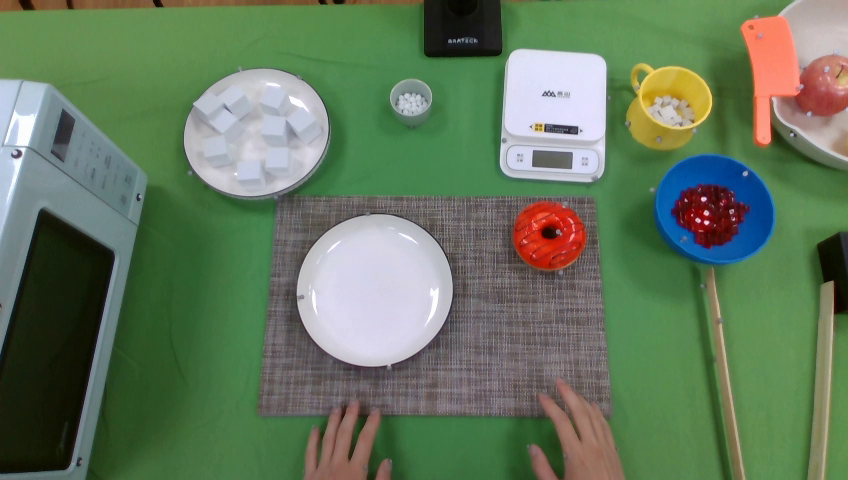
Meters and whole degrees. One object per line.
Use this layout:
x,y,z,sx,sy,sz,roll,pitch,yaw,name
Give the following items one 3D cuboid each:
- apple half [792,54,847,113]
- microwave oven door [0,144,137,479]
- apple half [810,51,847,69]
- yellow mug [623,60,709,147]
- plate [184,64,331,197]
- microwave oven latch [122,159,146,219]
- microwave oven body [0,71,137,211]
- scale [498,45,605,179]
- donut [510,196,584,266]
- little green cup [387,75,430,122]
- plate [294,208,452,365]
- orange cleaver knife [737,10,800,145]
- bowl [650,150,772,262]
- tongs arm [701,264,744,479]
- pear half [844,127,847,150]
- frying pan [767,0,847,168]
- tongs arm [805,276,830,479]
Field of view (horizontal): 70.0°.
0.559,-0.212,0.856,0.080,0.075,0.053,41,81,9,apple half
-0.423,0.106,0.670,0.039,0.245,0.353,2,72,2,microwave oven door
0.584,-0.241,0.863,0.081,0.082,0.033,40,81,13,apple half
0.334,-0.204,0.866,0.100,0.064,0.130,-31,73,-8,yellow mug
-0.236,-0.155,0.875,0.208,0.039,0.206,0,72,1,plate
-0.405,-0.071,0.832,0.030,0.029,0.078,4,73,2,microwave oven latch
-0.566,0.060,0.692,0.326,0.261,0.439,3,73,2,microwave oven body
0.186,-0.188,0.881,0.148,0.032,0.200,4,73,3,scale
0.165,-0.012,0.816,0.099,0.048,0.098,-1,73,3,donut
-0.021,-0.205,0.887,0.061,0.039,0.061,0,72,1,little green cup
-0.066,0.062,0.800,0.209,0.038,0.208,0,72,1,plate
0.475,-0.227,0.832,0.077,0.012,0.210,5,73,5,orange cleaver knife
0.367,-0.035,0.807,0.151,0.077,0.150,0,73,1,bowl
0.392,0.217,0.750,0.051,0.026,0.382,2,73,-4,tongs arm
0.618,-0.144,0.815,0.076,0.110,0.056,35,77,15,pear half
0.657,-0.144,0.821,0.307,0.103,0.483,-26,66,-6,frying pan
0.478,0.227,0.752,0.028,0.028,0.385,17,73,-3,tongs arm
